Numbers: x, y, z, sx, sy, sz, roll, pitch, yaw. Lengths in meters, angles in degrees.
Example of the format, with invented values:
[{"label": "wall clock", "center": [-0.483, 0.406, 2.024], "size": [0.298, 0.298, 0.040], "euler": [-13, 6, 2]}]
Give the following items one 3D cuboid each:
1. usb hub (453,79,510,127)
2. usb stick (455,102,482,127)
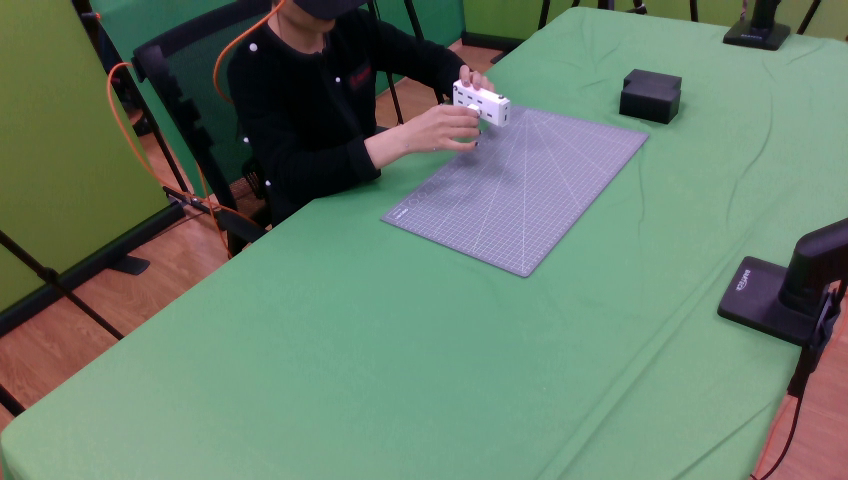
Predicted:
[{"label": "usb hub", "center": [0.106, -0.256, 1.125], "size": [0.025, 0.050, 0.124], "euler": [-34, 50, -30]}, {"label": "usb stick", "center": [0.085, -0.232, 1.107], "size": [0.059, 0.027, 0.021], "euler": [-32, 59, -25]}]
